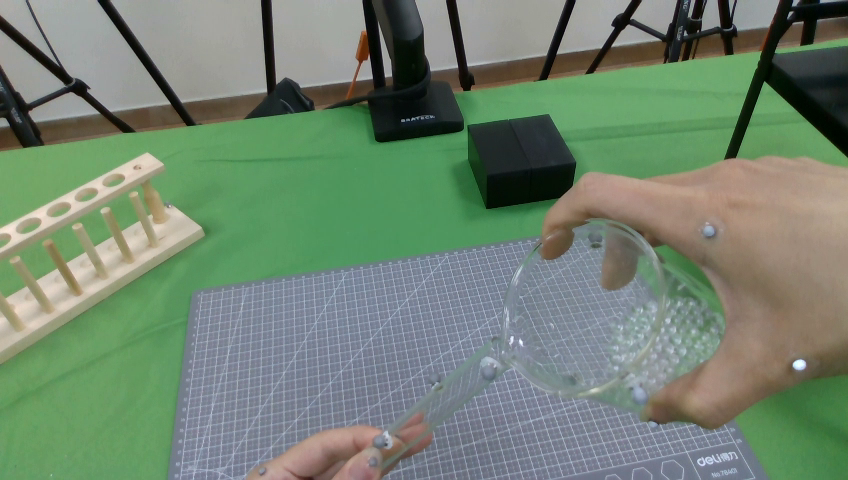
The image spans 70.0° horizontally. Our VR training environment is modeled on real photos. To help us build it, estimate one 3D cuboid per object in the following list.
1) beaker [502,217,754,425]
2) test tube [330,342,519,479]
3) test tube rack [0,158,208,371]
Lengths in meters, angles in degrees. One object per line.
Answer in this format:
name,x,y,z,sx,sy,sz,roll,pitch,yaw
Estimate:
beaker,0.095,0.044,0.275,0.101,0.084,0.073,24,39,-38
test tube,-0.008,0.097,0.304,0.017,0.151,0.017,31,32,-21
test tube rack,-0.348,0.020,0.602,0.066,0.086,0.242,31,53,31
